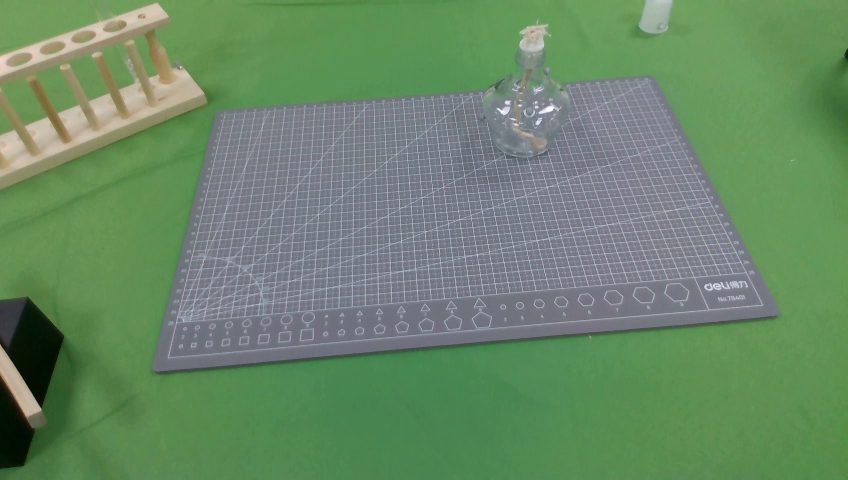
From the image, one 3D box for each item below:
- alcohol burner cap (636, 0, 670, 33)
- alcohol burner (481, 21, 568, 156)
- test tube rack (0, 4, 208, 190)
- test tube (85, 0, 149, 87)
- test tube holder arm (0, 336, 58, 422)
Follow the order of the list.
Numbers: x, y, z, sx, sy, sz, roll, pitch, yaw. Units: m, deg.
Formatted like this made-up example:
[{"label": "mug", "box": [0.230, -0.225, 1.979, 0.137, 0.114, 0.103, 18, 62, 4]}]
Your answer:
[{"label": "alcohol burner cap", "box": [0.258, -0.259, 0.676, 0.034, 0.048, 0.033, -3, 50, 4]}, {"label": "alcohol burner", "box": [0.089, -0.134, 0.529, 0.078, 0.120, 0.077, -1, 48, 2]}, {"label": "test tube rack", "box": [-0.344, -0.133, 0.575, 0.242, 0.086, 0.066, -30, 54, -20]}, {"label": "test tube", "box": [-0.301, -0.210, 0.573, 0.017, 0.152, 0.017, -5, 49, 6]}, {"label": "test tube holder arm", "box": [-0.285, 0.058, 0.391, 0.177, 0.015, 0.013, 32, 51, 25]}]
